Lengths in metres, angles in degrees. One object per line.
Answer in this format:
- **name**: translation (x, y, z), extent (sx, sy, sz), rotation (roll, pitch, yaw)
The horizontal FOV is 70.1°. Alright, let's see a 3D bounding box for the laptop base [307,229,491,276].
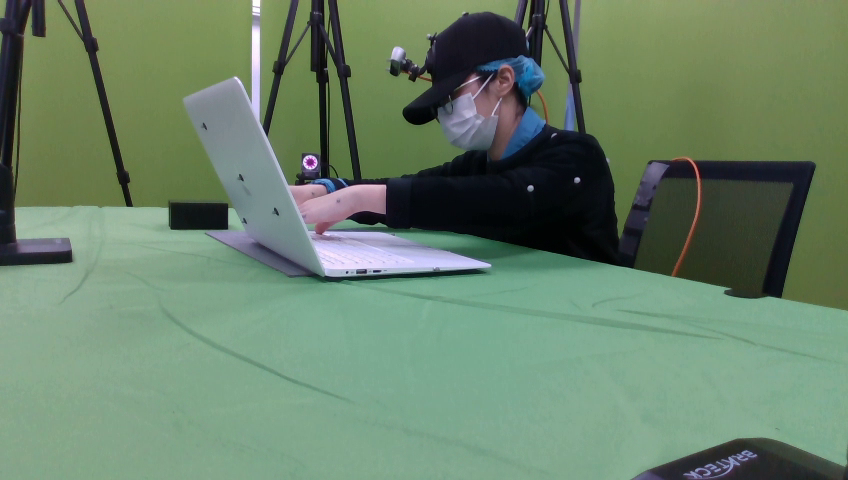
- **laptop base**: translation (-0.095, 0.015, 0.888), extent (0.237, 0.023, 0.352), rotation (1, 7, -30)

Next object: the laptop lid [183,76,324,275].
- **laptop lid**: translation (-0.237, -0.085, 0.791), extent (0.013, 0.242, 0.355), rotation (-29, 22, -23)

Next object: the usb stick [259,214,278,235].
- **usb stick**: translation (-0.261, -0.024, 1.021), extent (0.021, 0.027, 0.059), rotation (7, 15, -28)
